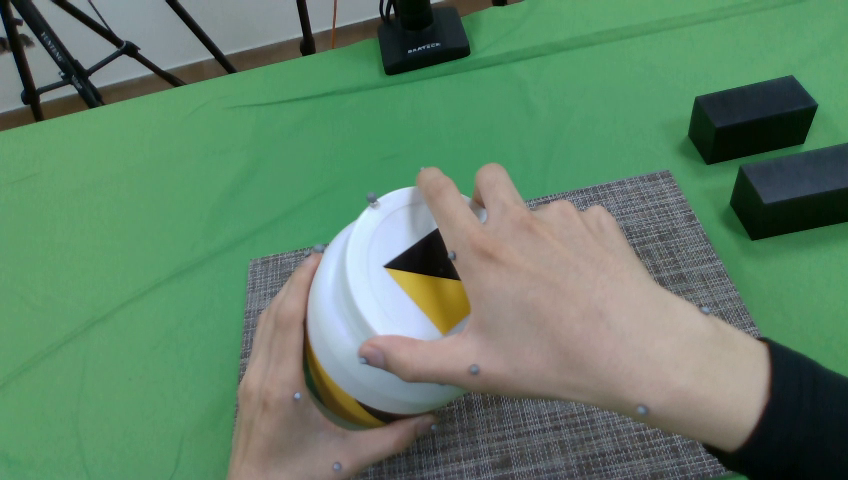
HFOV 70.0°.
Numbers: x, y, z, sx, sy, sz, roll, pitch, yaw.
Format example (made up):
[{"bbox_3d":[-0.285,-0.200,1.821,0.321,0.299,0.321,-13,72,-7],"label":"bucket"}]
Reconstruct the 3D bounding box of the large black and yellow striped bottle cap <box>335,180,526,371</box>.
[{"bbox_3d":[0.006,0.018,0.354,0.115,0.019,0.114,9,63,-18],"label":"large black and yellow striped bottle cap"}]

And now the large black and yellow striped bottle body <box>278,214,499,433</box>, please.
[{"bbox_3d":[-0.024,0.055,0.424,0.131,0.184,0.129,10,61,-18],"label":"large black and yellow striped bottle body"}]
